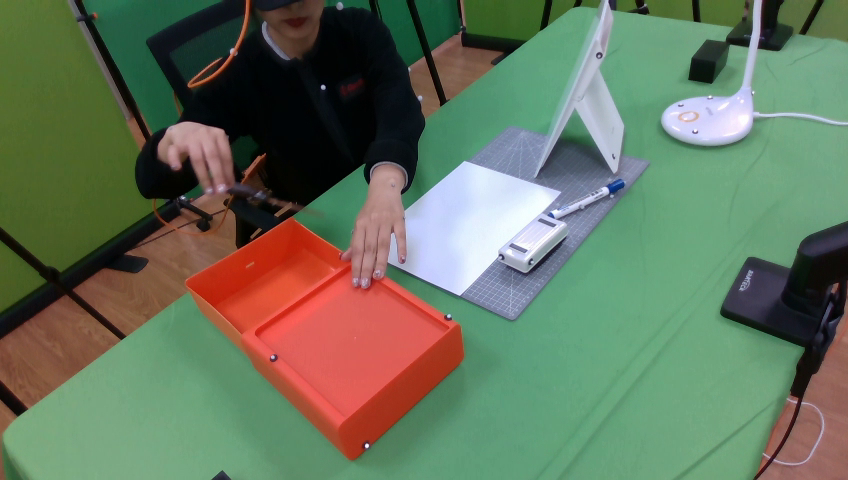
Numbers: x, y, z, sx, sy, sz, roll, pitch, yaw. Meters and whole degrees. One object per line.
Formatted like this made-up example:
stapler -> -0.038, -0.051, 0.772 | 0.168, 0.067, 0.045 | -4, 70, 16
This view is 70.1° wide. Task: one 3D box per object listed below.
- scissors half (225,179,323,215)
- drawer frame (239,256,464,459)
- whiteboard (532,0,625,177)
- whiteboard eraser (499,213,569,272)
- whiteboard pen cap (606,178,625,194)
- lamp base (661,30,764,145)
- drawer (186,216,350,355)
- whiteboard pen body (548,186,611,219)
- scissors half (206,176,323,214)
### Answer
scissors half -> -0.236, -0.065, 0.920 | 0.175, 0.013, 0.040 | 18, 2, 5
drawer frame -> -0.093, 0.139, 0.788 | 0.211, 0.083, 0.202 | 29, 52, 36
whiteboard -> 0.320, -0.259, 1.050 | 0.144, 0.306, 0.217 | 21, 45, 5
whiteboard eraser -> 0.168, 0.006, 0.923 | 0.055, 0.042, 0.113 | 29, 53, 34
whiteboard pen cap -> 0.320, -0.090, 1.016 | 0.033, 0.018, 0.018 | -27, 43, -14
lamp base -> 0.535, -0.287, 1.096 | 0.179, 0.181, 0.159 | -10, 40, -4
drawer -> -0.209, 0.074, 0.892 | 0.195, 0.073, 0.210 | -35, 46, -29
whiteboard pen body -> 0.267, -0.066, 1.004 | 0.141, 0.017, 0.017 | -25, 43, -13
scissors half -> -0.236, -0.064, 0.900 | 0.176, 0.013, 0.040 | 16, 7, -11
